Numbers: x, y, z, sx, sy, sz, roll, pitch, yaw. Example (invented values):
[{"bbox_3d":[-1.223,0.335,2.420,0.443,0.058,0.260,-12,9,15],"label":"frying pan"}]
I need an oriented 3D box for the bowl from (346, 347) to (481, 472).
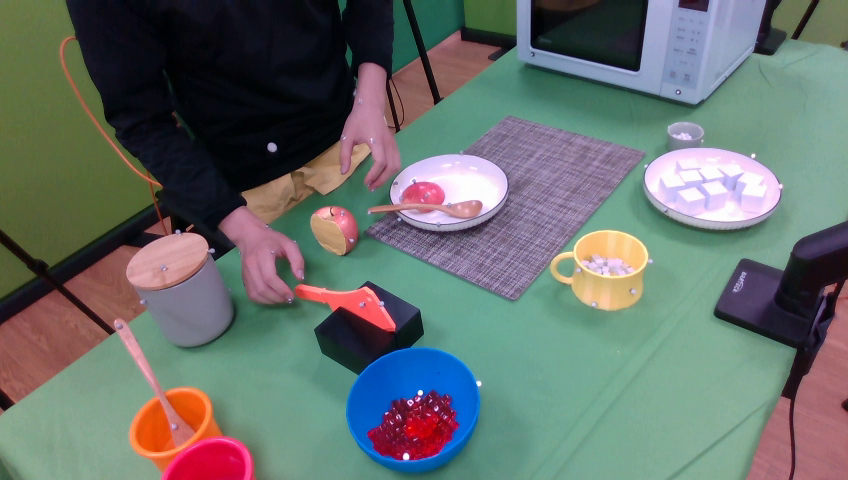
[{"bbox_3d":[-0.008,0.205,0.691,0.151,0.077,0.150,-4,40,4],"label":"bowl"}]

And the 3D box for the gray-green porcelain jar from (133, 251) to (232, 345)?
[{"bbox_3d":[-0.334,0.076,0.850,0.106,0.127,0.105,-4,41,4],"label":"gray-green porcelain jar"}]

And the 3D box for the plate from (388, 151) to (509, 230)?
[{"bbox_3d":[0.044,-0.082,1.042,0.209,0.038,0.208,-4,40,4],"label":"plate"}]

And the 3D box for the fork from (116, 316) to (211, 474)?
[{"bbox_3d":[-0.308,0.179,0.708,0.028,0.018,0.207,-30,89,-15],"label":"fork"}]

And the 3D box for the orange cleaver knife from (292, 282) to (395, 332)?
[{"bbox_3d":[-0.116,0.091,0.835,0.209,0.077,0.012,2,32,48],"label":"orange cleaver knife"}]

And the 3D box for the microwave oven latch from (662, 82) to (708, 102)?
[{"bbox_3d":[0.517,-0.298,1.203,0.078,0.029,0.030,27,52,34],"label":"microwave oven latch"}]

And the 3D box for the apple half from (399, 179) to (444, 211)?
[{"bbox_3d":[-0.003,-0.088,1.046,0.081,0.033,0.081,-2,42,2],"label":"apple half"}]

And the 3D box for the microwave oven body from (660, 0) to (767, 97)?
[{"bbox_3d":[0.473,-0.517,1.314,0.438,0.261,0.327,26,51,34],"label":"microwave oven body"}]

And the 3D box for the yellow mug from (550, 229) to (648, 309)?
[{"bbox_3d":[0.245,0.040,0.856,0.130,0.064,0.099,1,41,11],"label":"yellow mug"}]

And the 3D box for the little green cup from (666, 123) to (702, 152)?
[{"bbox_3d":[0.472,-0.183,1.102,0.061,0.039,0.061,-5,41,5],"label":"little green cup"}]

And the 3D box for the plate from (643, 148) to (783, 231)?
[{"bbox_3d":[0.464,-0.079,0.986,0.207,0.039,0.206,-4,40,4],"label":"plate"}]

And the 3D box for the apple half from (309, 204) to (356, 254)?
[{"bbox_3d":[-0.140,-0.022,0.978,0.080,0.075,0.053,19,43,32],"label":"apple half"}]

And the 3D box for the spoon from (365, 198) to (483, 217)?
[{"bbox_3d":[0.001,-0.056,0.997,0.194,0.021,0.041,1,53,-9],"label":"spoon"}]

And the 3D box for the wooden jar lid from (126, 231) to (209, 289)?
[{"bbox_3d":[-0.339,0.029,0.809,0.108,0.021,0.108,-5,39,5],"label":"wooden jar lid"}]

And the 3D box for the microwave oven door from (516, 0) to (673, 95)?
[{"bbox_3d":[0.344,-0.458,1.256,0.353,0.245,0.039,26,51,33],"label":"microwave oven door"}]
